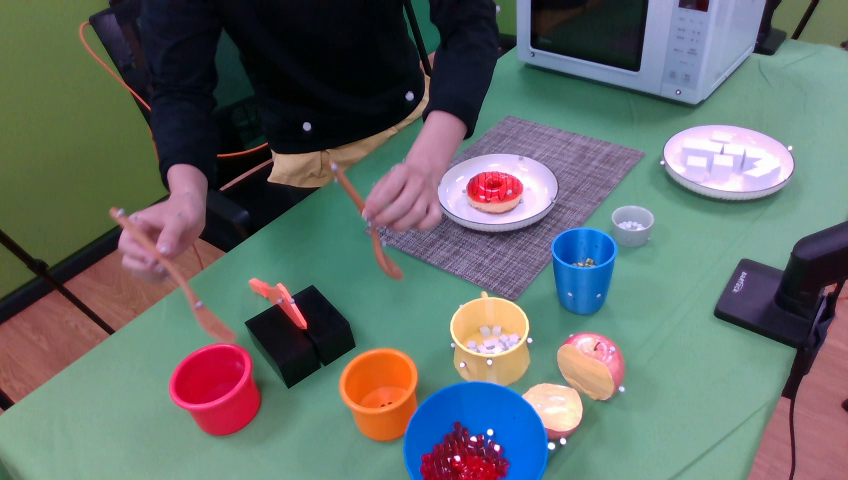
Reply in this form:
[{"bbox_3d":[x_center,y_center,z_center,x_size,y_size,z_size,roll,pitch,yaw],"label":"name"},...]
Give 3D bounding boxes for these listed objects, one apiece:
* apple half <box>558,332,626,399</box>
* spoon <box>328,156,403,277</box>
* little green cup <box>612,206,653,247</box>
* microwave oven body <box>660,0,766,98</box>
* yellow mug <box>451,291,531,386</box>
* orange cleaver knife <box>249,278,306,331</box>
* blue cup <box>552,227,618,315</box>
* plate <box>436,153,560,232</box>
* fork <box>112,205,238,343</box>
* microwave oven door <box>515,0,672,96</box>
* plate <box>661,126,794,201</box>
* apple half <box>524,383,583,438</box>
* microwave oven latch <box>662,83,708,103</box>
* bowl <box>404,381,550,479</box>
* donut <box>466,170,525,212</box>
[{"bbox_3d":[0.209,0.147,0.731,0.080,0.075,0.053,26,46,38],"label":"apple half"},{"bbox_3d":[-0.065,-0.024,0.706,0.021,0.195,0.041,-23,40,0],"label":"spoon"},{"bbox_3d":[0.321,-0.019,0.936,0.061,0.039,0.061,-4,40,4],"label":"little green cup"},{"bbox_3d":[0.473,-0.513,1.317,0.438,0.261,0.327,26,51,34],"label":"microwave oven body"},{"bbox_3d":[0.085,0.120,0.786,0.100,0.064,0.130,-7,39,1],"label":"yellow mug"},{"bbox_3d":[-0.209,0.088,0.856,0.012,0.077,0.210,-31,16,-24],"label":"orange cleaver knife"},{"bbox_3d":[0.218,0.047,0.825,0.092,0.101,0.092,-6,39,5],"label":"blue cup"},{"bbox_3d":[0.125,-0.078,1.029,0.209,0.038,0.208,-4,40,4],"label":"plate"},{"bbox_3d":[-0.289,0.042,0.708,0.018,0.208,0.028,-26,19,20],"label":"fork"},{"bbox_3d":[0.344,-0.455,1.259,0.353,0.245,0.039,26,51,33],"label":"microwave oven door"},{"bbox_3d":[0.513,-0.127,1.035,0.207,0.039,0.206,-4,40,4],"label":"plate"},{"bbox_3d":[0.150,0.204,0.704,0.081,0.033,0.081,-10,25,5],"label":"apple half"},{"bbox_3d":[0.518,-0.297,1.205,0.078,0.029,0.030,29,53,36],"label":"microwave oven latch"},{"bbox_3d":[0.058,0.235,0.645,0.151,0.077,0.150,-4,39,4],"label":"bowl"},{"bbox_3d":[0.121,-0.084,1.019,0.099,0.048,0.098,-4,39,3],"label":"donut"}]
